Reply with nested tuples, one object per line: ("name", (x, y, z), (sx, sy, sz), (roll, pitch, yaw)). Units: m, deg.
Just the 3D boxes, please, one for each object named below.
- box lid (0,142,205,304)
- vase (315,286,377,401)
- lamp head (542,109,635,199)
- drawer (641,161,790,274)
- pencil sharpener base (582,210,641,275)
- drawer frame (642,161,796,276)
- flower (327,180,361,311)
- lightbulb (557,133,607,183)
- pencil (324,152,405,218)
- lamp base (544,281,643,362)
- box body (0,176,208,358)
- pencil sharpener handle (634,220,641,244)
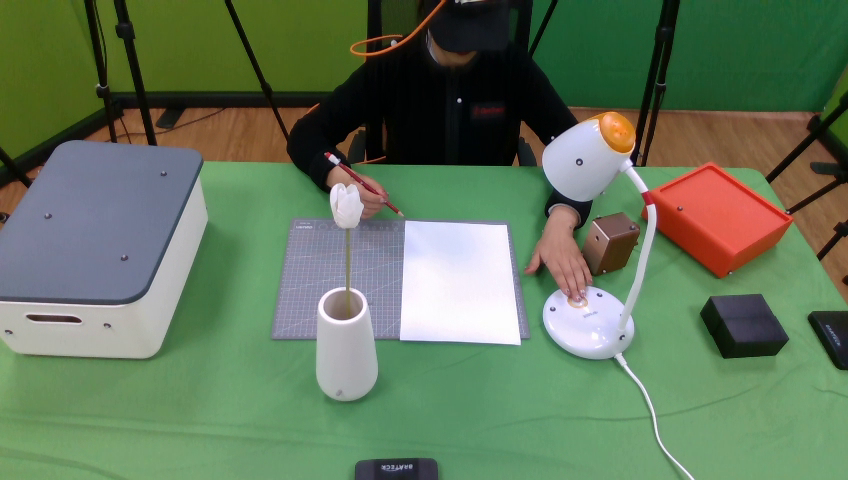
("box lid", (-0.533, -0.044, 0.995), (0.263, 0.015, 0.369), (3, 45, -3))
("vase", (-0.119, 0.159, 0.911), (0.098, 0.201, 0.097), (2, 47, -2))
("lamp head", (0.253, -0.131, 0.893), (0.113, 0.123, 0.112), (10, 66, -24))
("drawer", (0.596, -0.051, 1.246), (0.194, 0.073, 0.210), (-23, 53, -25))
("pencil sharpener base", (0.357, 0.005, 1.156), (0.077, 0.107, 0.061), (-15, 48, -18))
("drawer frame", (0.599, -0.051, 1.244), (0.202, 0.083, 0.212), (-24, 52, -25))
("flower", (-0.111, 0.086, 0.867), (0.044, 0.363, 0.038), (22, 33, 36))
("lightbulb", (0.243, -0.127, 0.917), (0.059, 0.108, 0.059), (5, 67, -13))
("pencil", (-0.110, -0.103, 1.146), (0.194, 0.012, 0.012), (39, 51, -4))
("lamp base", (0.303, 0.095, 1.014), (0.161, 0.181, 0.178), (-24, 54, -24))
("box body", (-0.546, 0.017, 1.045), (0.254, 0.161, 0.361), (2, 46, -2))
("pencil sharpener handle", (0.405, -0.015, 1.162), (0.031, 0.068, 0.035), (-15, 45, -17))
